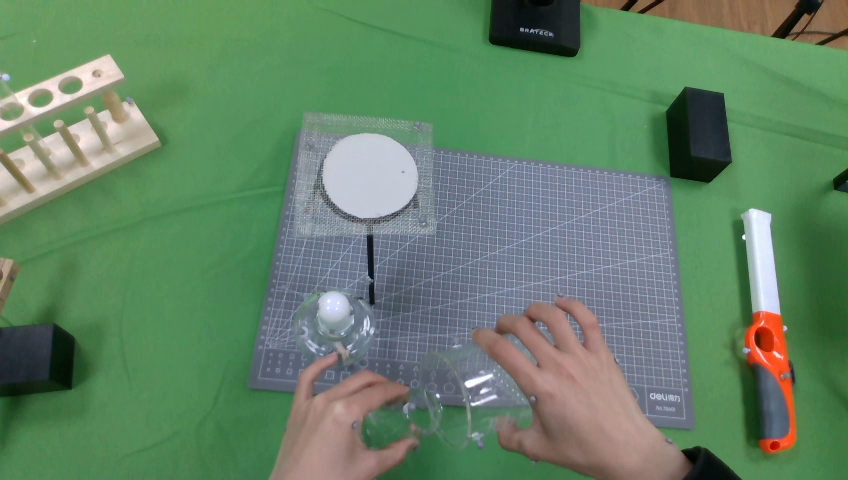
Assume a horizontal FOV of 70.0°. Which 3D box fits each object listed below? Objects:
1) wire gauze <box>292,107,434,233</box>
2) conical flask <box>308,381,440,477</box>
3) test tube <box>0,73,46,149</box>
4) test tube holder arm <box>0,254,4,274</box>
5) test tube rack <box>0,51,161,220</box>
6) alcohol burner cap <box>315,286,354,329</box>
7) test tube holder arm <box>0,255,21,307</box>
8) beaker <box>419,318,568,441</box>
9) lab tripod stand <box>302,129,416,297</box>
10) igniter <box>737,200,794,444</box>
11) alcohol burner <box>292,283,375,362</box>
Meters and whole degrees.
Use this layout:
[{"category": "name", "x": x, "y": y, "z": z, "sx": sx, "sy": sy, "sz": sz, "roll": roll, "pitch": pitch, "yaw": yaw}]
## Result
[{"category": "wire gauze", "x": -0.053, "y": -0.063, "z": 0.538, "sx": 0.122, "sy": 0.011, "sz": 0.124, "roll": 2, "pitch": 68, "yaw": -7}, {"category": "conical flask", "x": -0.039, "y": 0.156, "z": 0.522, "sx": 0.076, "sy": 0.122, "sz": 0.074, "roll": 26, "pitch": 49, "yaw": -33}, {"category": "test tube", "x": -0.394, "y": -0.133, "z": 0.573, "sx": 0.017, "sy": 0.151, "sz": 0.017, "roll": 4, "pitch": 61, "yaw": -7}, {"category": "test tube holder arm", "x": -0.390, "y": 0.095, "z": 0.512, "sx": 0.013, "sy": 0.015, "sz": 0.177, "roll": 9, "pitch": 65, "yaw": -3}, {"category": "test tube rack", "x": -0.404, "y": -0.090, "z": 0.606, "sx": 0.242, "sy": 0.085, "sz": 0.066, "roll": -32, "pitch": 74, "yaw": -19}, {"category": "alcohol burner cap", "x": -0.079, "y": 0.057, "z": 0.528, "sx": 0.034, "sy": 0.048, "sz": 0.033, "roll": 1, "pitch": 70, "yaw": -3}, {"category": "test tube holder arm", "x": -0.379, "y": 0.055, "z": 0.532, "sx": 0.010, "sy": 0.015, "sz": 0.087, "roll": 10, "pitch": 65, "yaw": -3}, {"category": "beaker", "x": 0.055, "y": 0.107, "z": 0.481, "sx": 0.100, "sy": 0.084, "sz": 0.073, "roll": -12, "pitch": 69, "yaw": -27}, {"category": "lab tripod stand", "x": -0.057, "y": -0.032, "z": 0.598, "sx": 0.149, "sy": 0.132, "sz": 0.147, "roll": 3, "pitch": 67, "yaw": -8}, {"category": "igniter", "x": 0.373, "y": 0.083, "z": 0.666, "sx": 0.057, "sy": 0.025, "sz": 0.274, "roll": 13, "pitch": 66, "yaw": -13}, {"category": "alcohol burner", "x": -0.083, "y": 0.071, "z": 0.561, "sx": 0.078, "sy": 0.120, "sz": 0.077, "roll": 4, "pitch": 65, "yaw": -8}]
